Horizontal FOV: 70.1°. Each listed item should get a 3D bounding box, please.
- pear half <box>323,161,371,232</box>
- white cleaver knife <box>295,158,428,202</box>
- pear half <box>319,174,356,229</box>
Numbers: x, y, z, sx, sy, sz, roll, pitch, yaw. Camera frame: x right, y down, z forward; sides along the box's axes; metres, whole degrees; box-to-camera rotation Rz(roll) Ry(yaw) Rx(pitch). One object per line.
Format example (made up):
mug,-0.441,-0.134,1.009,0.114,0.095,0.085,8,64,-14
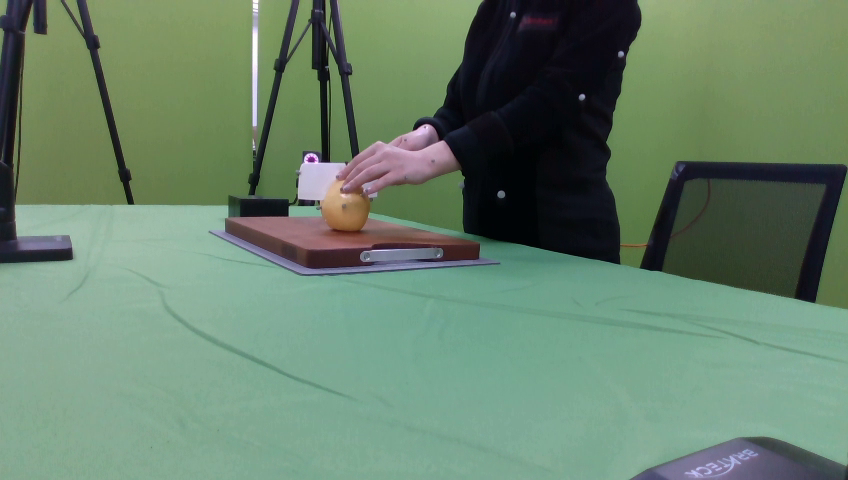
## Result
pear half,-0.113,-0.067,0.936,0.055,0.110,0.077,5,11,37
white cleaver knife,-0.095,-0.100,0.989,0.021,0.066,0.288,14,16,41
pear half,-0.142,-0.061,0.959,0.031,0.088,0.071,4,11,36
